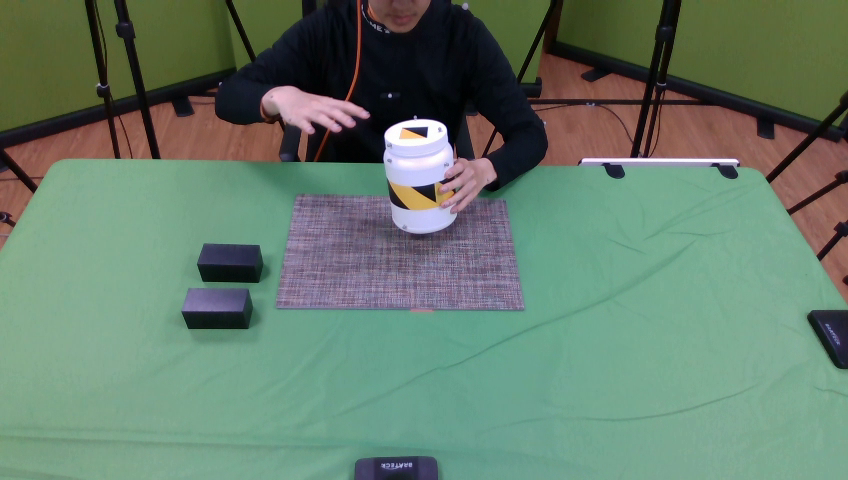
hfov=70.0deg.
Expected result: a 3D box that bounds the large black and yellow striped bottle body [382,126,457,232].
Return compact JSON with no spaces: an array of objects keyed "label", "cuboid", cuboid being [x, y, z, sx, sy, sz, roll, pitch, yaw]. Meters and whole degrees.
[{"label":"large black and yellow striped bottle body","cuboid":[-0.008,-0.122,1.144,0.131,0.185,0.130,-5,34,3]}]

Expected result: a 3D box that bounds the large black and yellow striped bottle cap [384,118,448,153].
[{"label":"large black and yellow striped bottle cap","cuboid":[-0.015,-0.190,1.097,0.115,0.019,0.114,-6,34,4]}]
